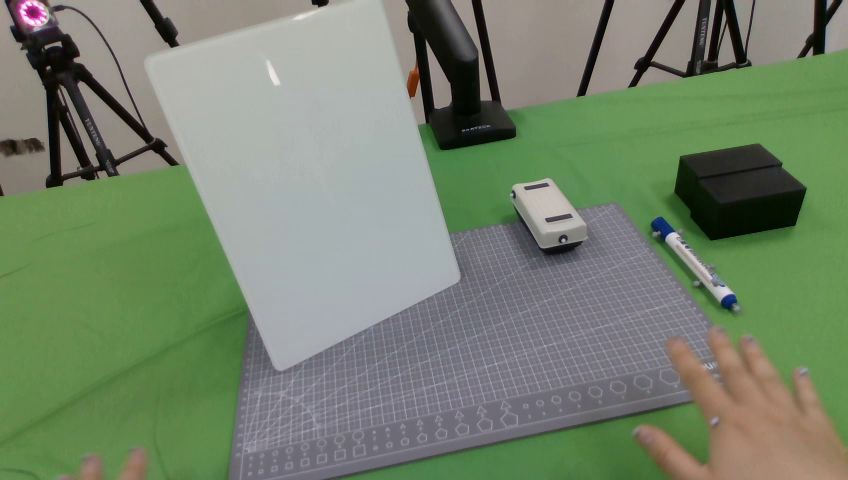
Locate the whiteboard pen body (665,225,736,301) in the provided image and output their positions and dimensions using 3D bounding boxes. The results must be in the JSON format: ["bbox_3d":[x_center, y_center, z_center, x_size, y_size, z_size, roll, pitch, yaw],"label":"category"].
[{"bbox_3d":[0.284,0.016,0.641,0.017,0.017,0.139,-12,37,-5],"label":"whiteboard pen body"}]

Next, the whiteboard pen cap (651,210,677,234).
[{"bbox_3d":[0.272,-0.019,0.686,0.018,0.018,0.033,-12,36,-6],"label":"whiteboard pen cap"}]

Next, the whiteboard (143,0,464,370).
[{"bbox_3d":[-0.120,-0.067,0.627,0.217,0.307,0.142,-25,21,-20],"label":"whiteboard"}]

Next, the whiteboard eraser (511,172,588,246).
[{"bbox_3d":[0.144,-0.037,0.707,0.055,0.042,0.111,-14,38,-5],"label":"whiteboard eraser"}]
